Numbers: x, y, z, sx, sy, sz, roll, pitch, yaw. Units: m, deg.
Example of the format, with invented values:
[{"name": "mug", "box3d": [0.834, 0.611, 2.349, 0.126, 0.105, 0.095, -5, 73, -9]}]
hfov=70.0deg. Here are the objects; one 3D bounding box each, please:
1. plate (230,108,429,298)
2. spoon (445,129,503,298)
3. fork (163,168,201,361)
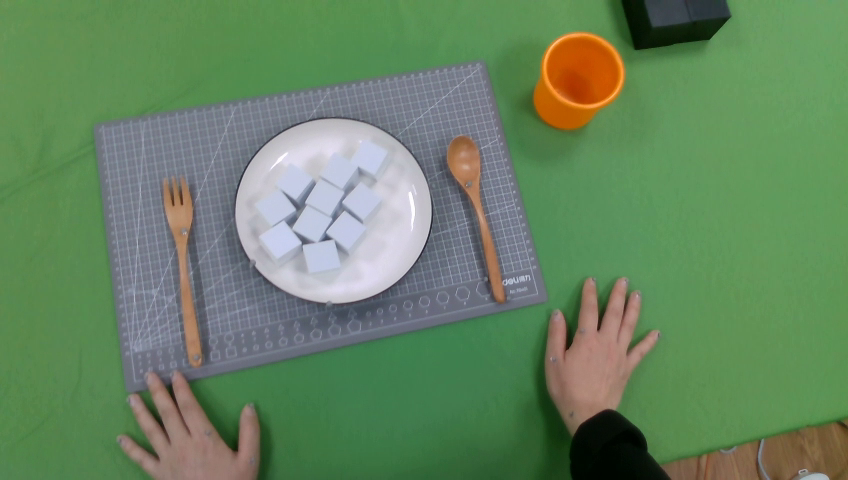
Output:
[{"name": "plate", "box3d": [-0.099, -0.038, 0.653, 0.208, 0.039, 0.206, 1, 78, -4]}, {"name": "spoon", "box3d": [0.059, -0.030, 0.671, 0.042, 0.021, 0.193, -9, 78, -25]}, {"name": "fork", "box3d": [-0.252, 0.023, 0.637, 0.028, 0.019, 0.206, -9, 77, -11]}]
